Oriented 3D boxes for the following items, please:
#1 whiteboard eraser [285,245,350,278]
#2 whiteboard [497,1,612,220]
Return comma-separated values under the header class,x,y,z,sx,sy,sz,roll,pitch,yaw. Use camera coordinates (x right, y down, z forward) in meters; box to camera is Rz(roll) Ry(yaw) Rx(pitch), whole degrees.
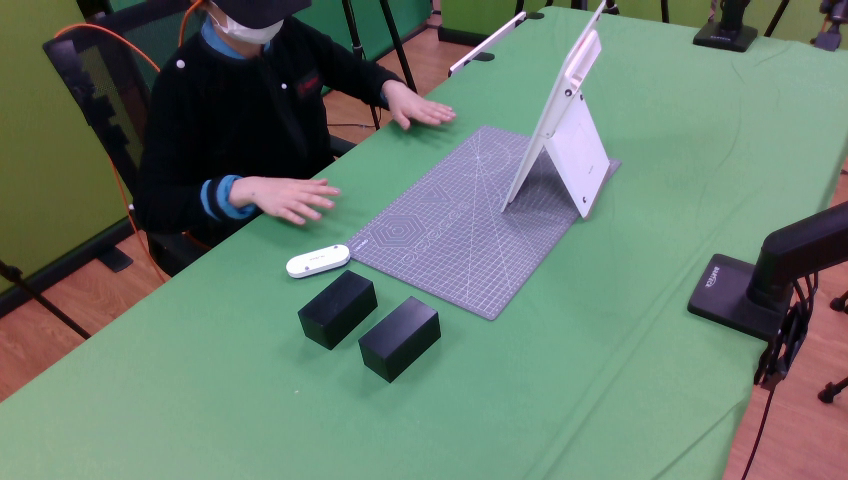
class,x,y,z,sx,sy,sz,roll,pitch,yaw
whiteboard eraser,-0.168,0.033,0.954,0.101,0.019,0.041,-15,41,-9
whiteboard,0.260,-0.178,0.963,0.143,0.306,0.217,28,49,9
